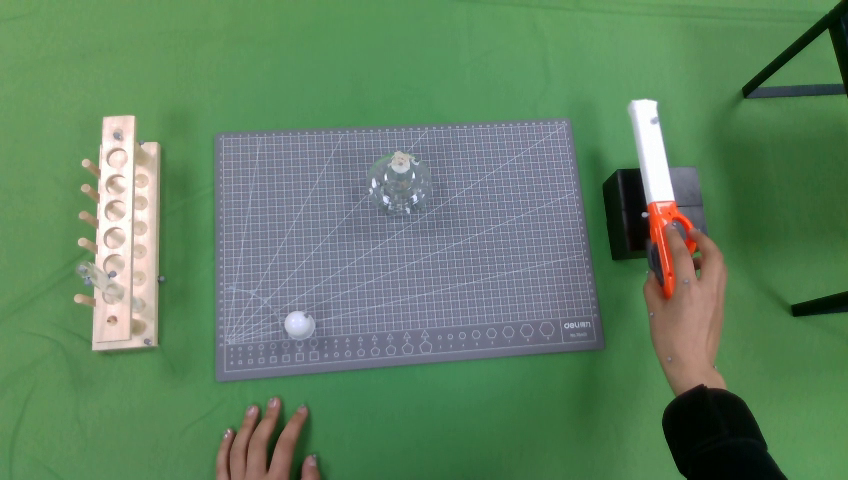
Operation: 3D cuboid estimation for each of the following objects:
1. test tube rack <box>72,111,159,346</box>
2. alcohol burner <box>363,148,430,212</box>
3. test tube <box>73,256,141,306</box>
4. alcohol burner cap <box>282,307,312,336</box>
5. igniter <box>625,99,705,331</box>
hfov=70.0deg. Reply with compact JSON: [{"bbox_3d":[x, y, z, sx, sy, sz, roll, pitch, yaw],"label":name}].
[{"bbox_3d":[-0.340,-0.011,0.664,0.067,0.085,0.241,-4,77,-6],"label":"test tube rack"},{"bbox_3d":[-0.031,-0.074,0.691,0.078,0.119,0.077,1,77,-3],"label":"alcohol burner"},{"bbox_3d":[-0.311,0.044,0.603,0.017,0.151,0.017,2,71,-7],"label":"test tube"},{"bbox_3d":[-0.144,0.089,0.678,0.034,0.048,0.033,1,77,-6],"label":"alcohol burner cap"},{"bbox_3d":[0.269,-0.033,0.686,0.057,0.025,0.275,-4,74,-6],"label":"igniter"}]
